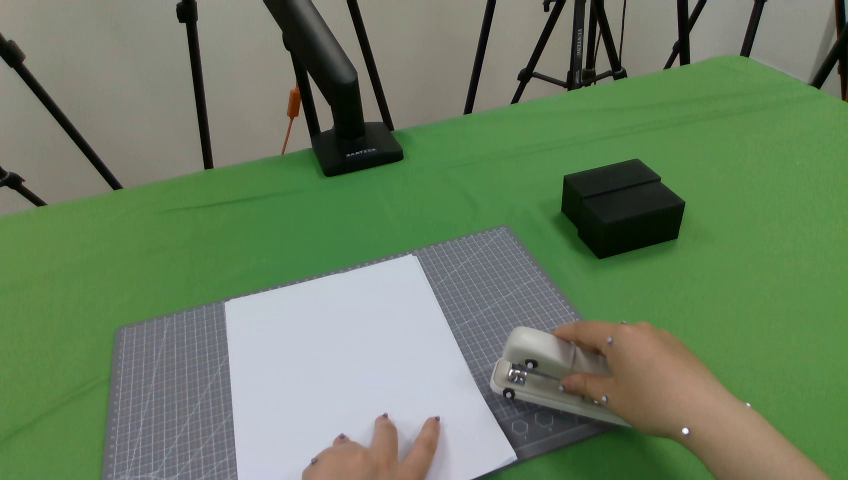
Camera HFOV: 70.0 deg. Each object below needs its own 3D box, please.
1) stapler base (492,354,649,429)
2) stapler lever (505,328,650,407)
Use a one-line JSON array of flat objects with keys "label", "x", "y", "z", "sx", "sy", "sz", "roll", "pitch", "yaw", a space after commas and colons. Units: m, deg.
[{"label": "stapler base", "x": 0.124, "y": 0.120, "z": 0.510, "sx": 0.130, "sy": 0.024, "sz": 0.041, "roll": 12, "pitch": 48, "yaw": 13}, {"label": "stapler lever", "x": 0.125, "y": 0.102, "z": 0.493, "sx": 0.117, "sy": 0.040, "sz": 0.026, "roll": 12, "pitch": 48, "yaw": 14}]
